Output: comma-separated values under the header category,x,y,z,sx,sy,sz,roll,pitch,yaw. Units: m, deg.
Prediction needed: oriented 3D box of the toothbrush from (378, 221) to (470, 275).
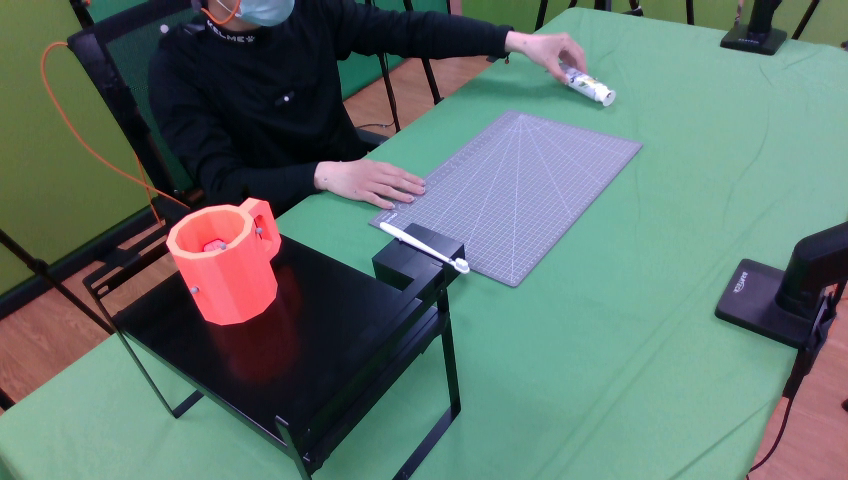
category,x,y,z,sx,sy,sz,roll,pitch,yaw
toothbrush,-0.004,0.007,0.894,0.180,0.017,0.014,27,55,34

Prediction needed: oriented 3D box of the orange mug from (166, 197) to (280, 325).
category,x,y,z,sx,sy,sz,roll,pitch,yaw
orange mug,-0.203,0.014,0.650,0.083,0.101,0.126,12,48,22

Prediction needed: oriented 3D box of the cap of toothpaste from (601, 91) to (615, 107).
category,x,y,z,sx,sy,sz,roll,pitch,yaw
cap of toothpaste,0.378,-0.293,1.247,0.037,0.037,0.011,-30,52,-24

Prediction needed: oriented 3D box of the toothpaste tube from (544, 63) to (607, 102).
category,x,y,z,sx,sy,sz,roll,pitch,yaw
toothpaste tube,0.333,-0.337,1.293,0.055,0.034,0.163,-29,52,-24
